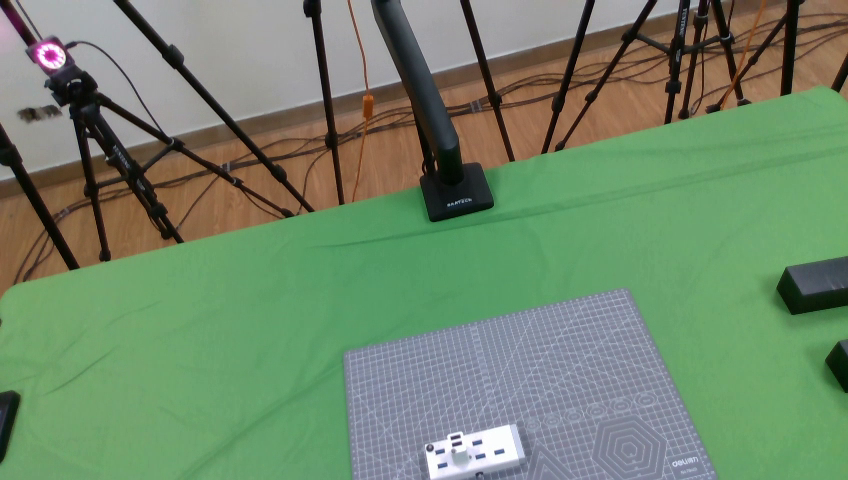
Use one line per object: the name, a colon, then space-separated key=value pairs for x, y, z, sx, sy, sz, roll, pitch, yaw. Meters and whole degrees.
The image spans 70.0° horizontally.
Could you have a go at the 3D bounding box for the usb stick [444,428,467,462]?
usb stick: x=0.041 y=0.263 z=0.769 sx=0.021 sy=0.060 sz=0.027 roll=-16 pitch=47 yaw=-2

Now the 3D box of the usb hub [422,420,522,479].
usb hub: x=0.062 y=0.274 z=0.794 sx=0.125 sy=0.025 sz=0.049 roll=-13 pitch=49 yaw=0
